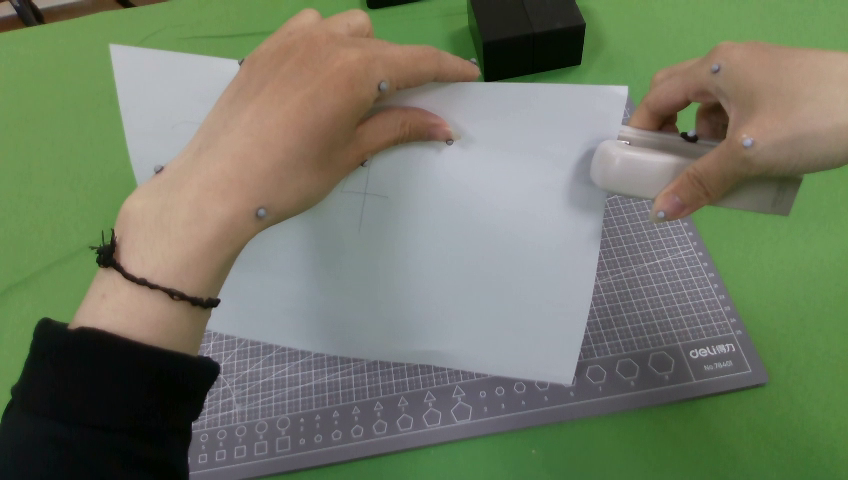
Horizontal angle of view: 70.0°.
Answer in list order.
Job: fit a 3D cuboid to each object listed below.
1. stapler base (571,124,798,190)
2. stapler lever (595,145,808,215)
[{"bbox_3d":[0.156,-0.040,0.359,0.130,0.041,0.024,7,25,-1],"label":"stapler base"},{"bbox_3d":[0.156,-0.032,0.339,0.118,0.027,0.040,9,25,3],"label":"stapler lever"}]
